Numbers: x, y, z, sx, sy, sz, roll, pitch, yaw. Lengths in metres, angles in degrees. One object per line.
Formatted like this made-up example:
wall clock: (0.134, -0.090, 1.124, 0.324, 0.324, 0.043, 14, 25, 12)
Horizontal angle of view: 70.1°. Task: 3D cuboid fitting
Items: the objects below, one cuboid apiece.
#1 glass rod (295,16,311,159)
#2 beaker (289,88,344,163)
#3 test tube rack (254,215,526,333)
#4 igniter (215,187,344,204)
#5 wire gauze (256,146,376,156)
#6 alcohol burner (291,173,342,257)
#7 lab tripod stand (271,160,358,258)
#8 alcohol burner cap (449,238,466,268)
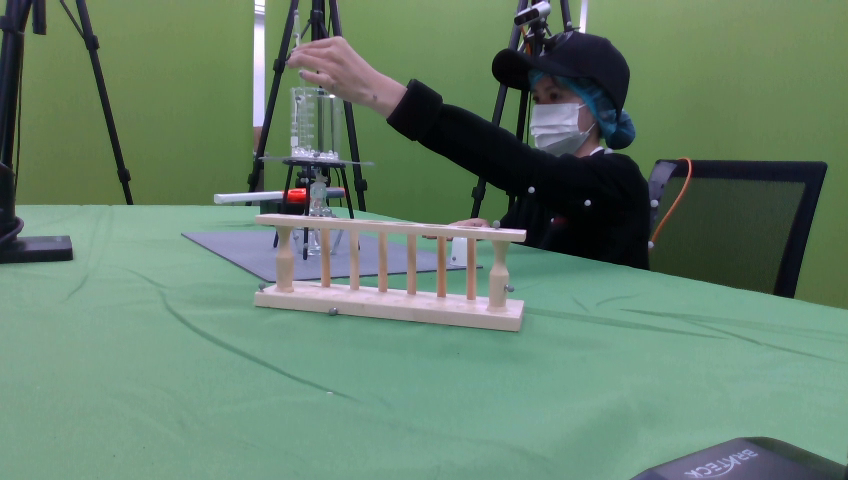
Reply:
glass rod: (-0.169, -0.212, 0.844, 0.008, 0.199, 0.008, -5, 1, 0)
beaker: (-0.157, -0.160, 0.862, 0.083, 0.100, 0.074, 7, 7, 34)
test tube rack: (-0.030, 0.025, 0.557, 0.242, 0.085, 0.067, 4, 7, 12)
igniter: (-0.290, -0.093, 1.256, 0.278, 0.025, 0.057, -6, 11, -35)
wire gauze: (-0.155, -0.128, 0.871, 0.124, 0.011, 0.122, 2, 7, 36)
alcohol burner: (-0.155, -0.037, 0.870, 0.078, 0.119, 0.078, 1, 6, 0)
lab tripod stand: (-0.159, -0.048, 0.876, 0.148, 0.131, 0.148, 3, 5, 0)
alcohol burner cap: (0.051, 0.014, 0.827, 0.034, 0.048, 0.034, 2, 5, 0)
